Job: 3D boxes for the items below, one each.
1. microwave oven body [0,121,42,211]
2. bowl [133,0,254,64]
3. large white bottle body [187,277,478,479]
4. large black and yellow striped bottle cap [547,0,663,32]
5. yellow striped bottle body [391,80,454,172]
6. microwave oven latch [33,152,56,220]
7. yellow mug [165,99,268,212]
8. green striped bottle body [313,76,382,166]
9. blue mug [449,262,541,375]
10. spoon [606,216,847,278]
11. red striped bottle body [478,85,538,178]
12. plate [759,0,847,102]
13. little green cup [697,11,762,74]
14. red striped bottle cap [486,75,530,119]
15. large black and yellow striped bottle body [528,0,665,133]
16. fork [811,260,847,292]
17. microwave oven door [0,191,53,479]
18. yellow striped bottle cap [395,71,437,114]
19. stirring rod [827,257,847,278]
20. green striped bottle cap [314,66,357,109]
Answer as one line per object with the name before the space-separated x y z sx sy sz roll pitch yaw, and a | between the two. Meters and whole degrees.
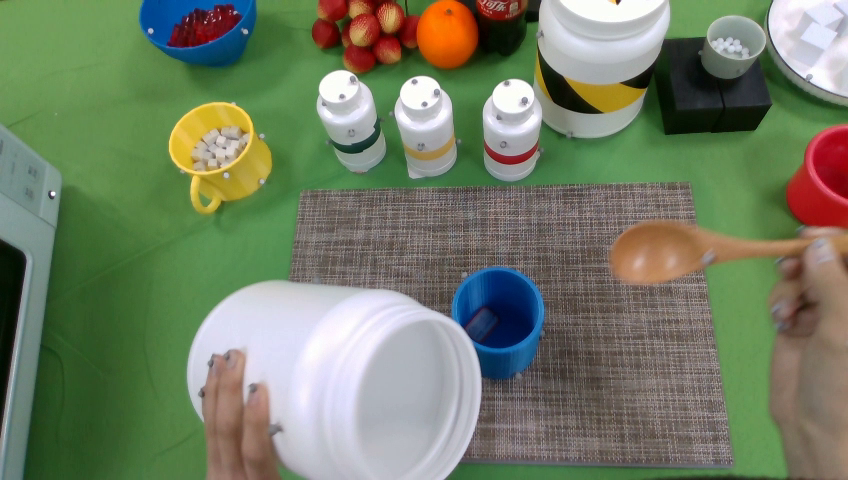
microwave oven body | -0.592 0.082 0.564 0.326 0.262 0.438 -9 67 1
bowl | -0.289 -0.288 0.798 0.151 0.077 0.150 -2 66 5
large white bottle body | -0.066 0.093 0.422 0.183 0.132 0.130 0 60 45
large black and yellow striped bottle cap | 0.175 -0.251 0.582 0.115 0.019 0.114 -3 67 8
yellow striped bottle body | -0.001 -0.133 0.677 0.063 0.121 0.062 -2 65 6
microwave oven latch | -0.460 -0.062 0.719 0.030 0.030 0.078 -8 67 2
yellow mug | -0.249 -0.095 0.716 0.100 0.064 0.130 8 68 10
green striped bottle body | -0.087 -0.141 0.690 0.063 0.120 0.062 -2 66 5
blue mug | 0.054 0.086 0.581 0.116 0.107 0.081 -30 66 -7
spoon | 0.208 0.001 0.357 0.193 0.021 0.042 -3 104 25
red striped bottle body | 0.093 -0.124 0.664 0.063 0.121 0.062 -3 65 8
plate | 0.504 -0.245 0.719 0.209 0.038 0.207 -2 67 5
little green cup | 0.333 -0.215 0.668 0.061 0.039 0.061 -1 64 3
red striped bottle cap | 0.086 -0.146 0.617 0.044 0.018 0.044 -1 65 2
large black and yellow striped bottle body | 0.183 -0.218 0.661 0.130 0.185 0.130 -2 66 5
fork | 0.444 0.055 0.534 0.028 0.019 0.205 -38 24 -9
microwave oven door | -0.443 0.095 0.538 0.039 0.246 0.353 -10 66 2
yellow striped bottle cap | -0.008 -0.154 0.630 0.044 0.019 0.044 0 64 1
stirring rod | 0.414 0.054 0.545 0.014 0.006 0.175 2 24 4
green striped bottle cap | -0.094 -0.162 0.643 0.044 0.020 0.044 -1 65 4
